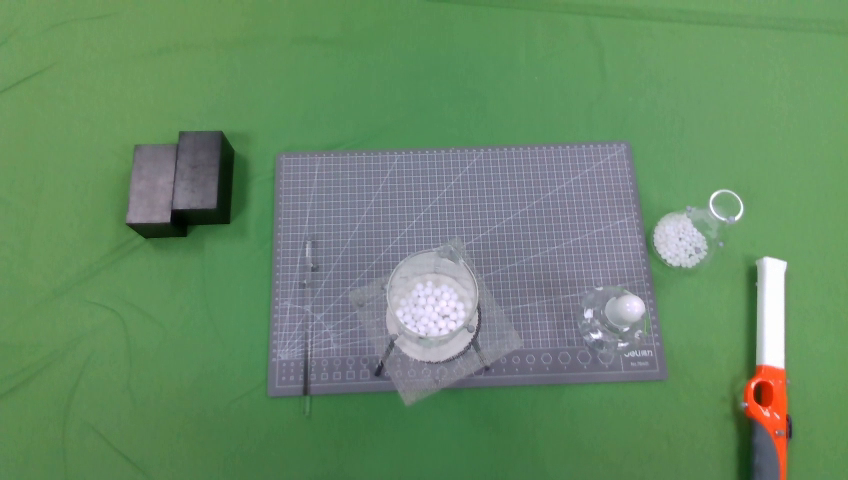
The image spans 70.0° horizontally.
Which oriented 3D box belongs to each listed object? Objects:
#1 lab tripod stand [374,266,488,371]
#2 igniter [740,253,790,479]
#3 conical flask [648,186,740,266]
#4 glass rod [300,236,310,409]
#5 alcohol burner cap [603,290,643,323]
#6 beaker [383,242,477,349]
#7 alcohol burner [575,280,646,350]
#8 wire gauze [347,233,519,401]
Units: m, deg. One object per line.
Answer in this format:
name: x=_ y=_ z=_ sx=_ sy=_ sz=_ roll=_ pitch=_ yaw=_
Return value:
lab tripod stand: x=0.006 y=0.090 z=0.634 sx=0.148 sy=0.132 sz=0.147 roll=0 pitch=74 yaw=0
igniter: x=0.384 y=0.147 z=0.681 sx=0.057 sy=0.025 sz=0.275 roll=14 pitch=73 yaw=-7
conical flask: x=0.309 y=-0.021 z=0.683 sx=0.075 sy=0.122 sz=0.075 roll=0 pitch=72 yaw=0
glass rod: x=-0.136 y=0.091 z=0.695 sx=0.008 sy=0.008 sz=0.198 roll=-1 pitch=75 yaw=-2
alcohol burner cap: x=0.205 y=0.065 z=0.617 sx=0.034 sy=0.048 sz=0.033 roll=0 pitch=77 yaw=-2
beaker: x=0.005 y=0.052 z=0.526 sx=0.074 sy=0.101 sz=0.083 roll=19 pitch=73 yaw=5
alcohol burner: x=0.204 y=0.077 z=0.652 sx=0.078 sy=0.120 sz=0.077 roll=0 pitch=71 yaw=1
wire gauze: x=0.008 y=0.070 z=0.571 sx=0.125 sy=0.011 sz=0.121 roll=-26 pitch=77 yaw=-11
